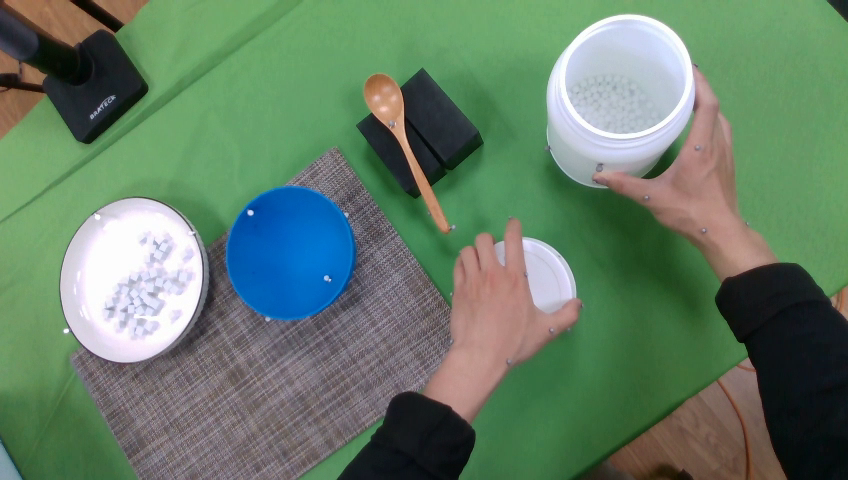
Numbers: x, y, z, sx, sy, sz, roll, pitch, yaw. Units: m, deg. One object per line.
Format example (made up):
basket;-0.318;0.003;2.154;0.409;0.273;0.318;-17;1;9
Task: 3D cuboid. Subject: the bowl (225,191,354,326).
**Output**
bowl;-0.144;0.023;0.704;0.151;0.077;0.151;-1;85;12

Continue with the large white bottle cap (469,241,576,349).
large white bottle cap;0.103;0.059;0.644;0.114;0.018;0.115;3;98;26

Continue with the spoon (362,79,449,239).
spoon;-0.018;-0.089;0.675;0.041;0.022;0.193;-25;86;4

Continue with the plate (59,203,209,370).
plate;-0.361;0.058;0.766;0.208;0.038;0.208;-2;82;13

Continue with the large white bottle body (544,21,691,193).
large white bottle body;0.185;-0.125;0.600;0.130;0.185;0.130;-1;84;12

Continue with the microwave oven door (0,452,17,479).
microwave oven door;-0.481;0.404;0.642;0.039;0.245;0.354;-40;79;5
